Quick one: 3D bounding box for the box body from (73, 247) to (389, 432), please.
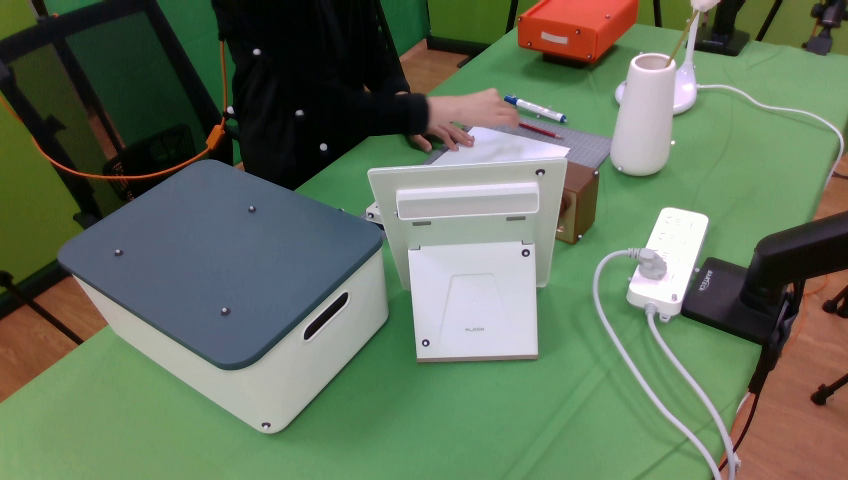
[{"bbox_3d":[-0.255,0.065,0.827,0.361,0.161,0.255,21,48,29],"label":"box body"}]

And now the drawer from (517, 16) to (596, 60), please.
[{"bbox_3d":[0.353,-0.506,1.405,0.193,0.073,0.212,23,49,32],"label":"drawer"}]

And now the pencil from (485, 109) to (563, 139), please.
[{"bbox_3d":[0.201,-0.234,1.228,0.192,0.012,0.012,28,52,33],"label":"pencil"}]

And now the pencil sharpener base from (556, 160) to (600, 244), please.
[{"bbox_3d":[0.228,-0.057,0.945,0.061,0.107,0.077,24,50,31],"label":"pencil sharpener base"}]

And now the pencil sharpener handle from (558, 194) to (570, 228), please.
[{"bbox_3d":[0.195,-0.038,0.908,0.035,0.068,0.031,24,50,30],"label":"pencil sharpener handle"}]

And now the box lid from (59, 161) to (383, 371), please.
[{"bbox_3d":[-0.261,0.010,0.777,0.369,0.015,0.264,21,48,29],"label":"box lid"}]

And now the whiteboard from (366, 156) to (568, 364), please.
[{"bbox_3d":[0.059,0.050,0.738,0.217,0.307,0.143,-2,60,6],"label":"whiteboard"}]

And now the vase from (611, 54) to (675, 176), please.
[{"bbox_3d":[0.377,-0.209,1.031,0.098,0.201,0.097,-3,40,3],"label":"vase"}]

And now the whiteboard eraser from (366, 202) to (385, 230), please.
[{"bbox_3d":[-0.037,-0.038,1.006,0.112,0.042,0.055,16,47,25],"label":"whiteboard eraser"}]

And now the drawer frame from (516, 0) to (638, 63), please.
[{"bbox_3d":[0.355,-0.508,1.411,0.200,0.083,0.214,23,51,32],"label":"drawer frame"}]

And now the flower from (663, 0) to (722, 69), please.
[{"bbox_3d":[0.379,-0.261,0.965,0.044,0.362,0.038,20,53,5],"label":"flower"}]

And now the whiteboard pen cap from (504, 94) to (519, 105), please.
[{"bbox_3d":[0.190,-0.299,1.292,0.033,0.018,0.018,30,52,28],"label":"whiteboard pen cap"}]

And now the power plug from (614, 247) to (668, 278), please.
[{"bbox_3d":[0.306,0.031,0.851,0.072,0.053,0.035,24,49,33],"label":"power plug"}]

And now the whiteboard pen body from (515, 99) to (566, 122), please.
[{"bbox_3d":[0.234,-0.274,1.262,0.139,0.017,0.017,28,51,29],"label":"whiteboard pen body"}]

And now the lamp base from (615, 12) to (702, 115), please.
[{"bbox_3d":[0.484,-0.363,1.211,0.180,0.181,0.159,-15,41,-14],"label":"lamp base"}]

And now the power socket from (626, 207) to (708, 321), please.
[{"bbox_3d":[0.359,0.025,0.886,0.072,0.033,0.227,16,46,26],"label":"power socket"}]
